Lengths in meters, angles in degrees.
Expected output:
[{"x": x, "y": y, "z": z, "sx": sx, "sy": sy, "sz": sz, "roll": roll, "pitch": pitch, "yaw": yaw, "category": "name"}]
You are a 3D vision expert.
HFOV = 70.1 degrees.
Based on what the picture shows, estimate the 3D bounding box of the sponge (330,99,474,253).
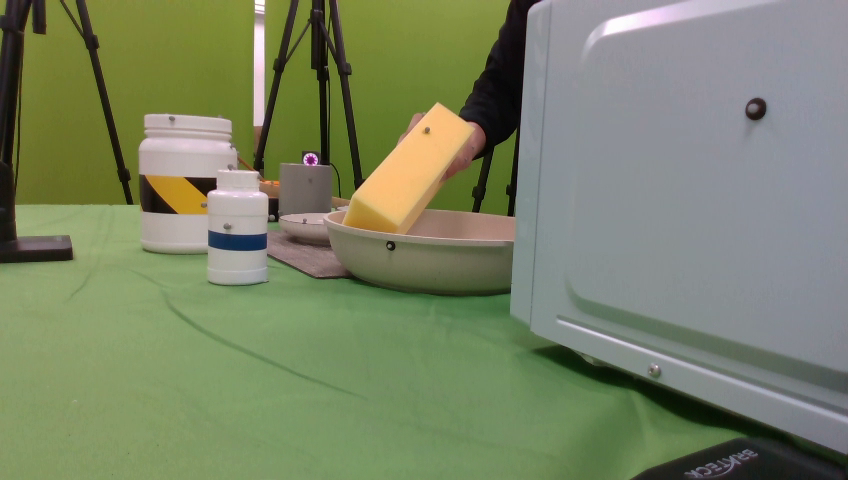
[{"x": -0.025, "y": -0.067, "z": 0.738, "sx": 0.061, "sy": 0.118, "sz": 0.207, "roll": 34, "pitch": 50, "yaw": 2, "category": "sponge"}]

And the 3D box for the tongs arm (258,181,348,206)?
[{"x": -0.241, "y": -0.095, "z": 1.373, "sx": 0.387, "sy": 0.026, "sz": 0.050, "roll": 9, "pitch": 0, "yaw": -37, "category": "tongs arm"}]

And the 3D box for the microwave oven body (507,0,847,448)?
[{"x": 0.331, "y": -0.042, "z": 0.425, "sx": 0.444, "sy": 0.260, "sz": 0.324, "roll": -2, "pitch": 8, "yaw": -31, "category": "microwave oven body"}]

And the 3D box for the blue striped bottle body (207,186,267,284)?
[{"x": -0.204, "y": -0.016, "z": 0.663, "sx": 0.063, "sy": 0.120, "sz": 0.063, "roll": 2, "pitch": 7, "yaw": 0, "category": "blue striped bottle body"}]

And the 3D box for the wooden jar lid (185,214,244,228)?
[{"x": -0.404, "y": -0.037, "z": 1.169, "sx": 0.108, "sy": 0.020, "sz": 0.108, "roll": 3, "pitch": 7, "yaw": 0, "category": "wooden jar lid"}]

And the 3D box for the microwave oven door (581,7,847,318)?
[{"x": 0.295, "y": -0.067, "z": 0.569, "sx": 0.358, "sy": 0.243, "sz": 0.039, "roll": -3, "pitch": 8, "yaw": -31, "category": "microwave oven door"}]

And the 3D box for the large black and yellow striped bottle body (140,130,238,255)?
[{"x": -0.336, "y": -0.078, "z": 0.871, "sx": 0.131, "sy": 0.184, "sz": 0.130, "roll": 2, "pitch": 8, "yaw": 0, "category": "large black and yellow striped bottle body"}]

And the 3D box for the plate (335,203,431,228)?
[{"x": -0.089, "y": -0.053, "z": 1.309, "sx": 0.208, "sy": 0.039, "sz": 0.207, "roll": 2, "pitch": 8, "yaw": 0, "category": "plate"}]

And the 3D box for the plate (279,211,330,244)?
[{"x": -0.139, "y": -0.022, "z": 1.021, "sx": 0.209, "sy": 0.038, "sz": 0.209, "roll": 2, "pitch": 8, "yaw": 0, "category": "plate"}]

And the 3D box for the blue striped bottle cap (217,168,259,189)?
[{"x": -0.202, "y": -0.067, "z": 0.657, "sx": 0.044, "sy": 0.020, "sz": 0.044, "roll": 1, "pitch": 10, "yaw": 0, "category": "blue striped bottle cap"}]

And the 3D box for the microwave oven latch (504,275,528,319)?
[{"x": 0.100, "y": 0.042, "z": 0.471, "sx": 0.079, "sy": 0.029, "sz": 0.030, "roll": -1, "pitch": 7, "yaw": -28, "category": "microwave oven latch"}]

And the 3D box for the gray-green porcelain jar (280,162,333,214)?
[{"x": -0.238, "y": -0.092, "z": 1.221, "sx": 0.106, "sy": 0.126, "sz": 0.106, "roll": 2, "pitch": 7, "yaw": 0, "category": "gray-green porcelain jar"}]

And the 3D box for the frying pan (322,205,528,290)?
[{"x": 0.109, "y": -0.018, "z": 0.800, "sx": 0.490, "sy": 0.102, "sz": 0.305, "roll": -12, "pitch": 16, "yaw": -30, "category": "frying pan"}]

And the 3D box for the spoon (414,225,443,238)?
[{"x": 0.016, "y": -0.020, "z": 1.113, "sx": 0.041, "sy": 0.021, "sz": 0.194, "roll": -14, "pitch": 3, "yaw": 12, "category": "spoon"}]

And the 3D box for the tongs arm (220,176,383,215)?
[{"x": -0.285, "y": -0.104, "z": 1.445, "sx": 0.389, "sy": 0.027, "sz": 0.028, "roll": 9, "pitch": -4, "yaw": -23, "category": "tongs arm"}]

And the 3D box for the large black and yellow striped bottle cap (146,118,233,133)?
[{"x": -0.333, "y": -0.163, "z": 0.861, "sx": 0.115, "sy": 0.019, "sz": 0.115, "roll": 1, "pitch": 9, "yaw": 0, "category": "large black and yellow striped bottle cap"}]

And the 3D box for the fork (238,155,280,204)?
[{"x": -0.396, "y": -0.143, "z": 1.487, "sx": 0.028, "sy": 0.018, "sz": 0.208, "roll": 19, "pitch": -26, "yaw": 44, "category": "fork"}]
